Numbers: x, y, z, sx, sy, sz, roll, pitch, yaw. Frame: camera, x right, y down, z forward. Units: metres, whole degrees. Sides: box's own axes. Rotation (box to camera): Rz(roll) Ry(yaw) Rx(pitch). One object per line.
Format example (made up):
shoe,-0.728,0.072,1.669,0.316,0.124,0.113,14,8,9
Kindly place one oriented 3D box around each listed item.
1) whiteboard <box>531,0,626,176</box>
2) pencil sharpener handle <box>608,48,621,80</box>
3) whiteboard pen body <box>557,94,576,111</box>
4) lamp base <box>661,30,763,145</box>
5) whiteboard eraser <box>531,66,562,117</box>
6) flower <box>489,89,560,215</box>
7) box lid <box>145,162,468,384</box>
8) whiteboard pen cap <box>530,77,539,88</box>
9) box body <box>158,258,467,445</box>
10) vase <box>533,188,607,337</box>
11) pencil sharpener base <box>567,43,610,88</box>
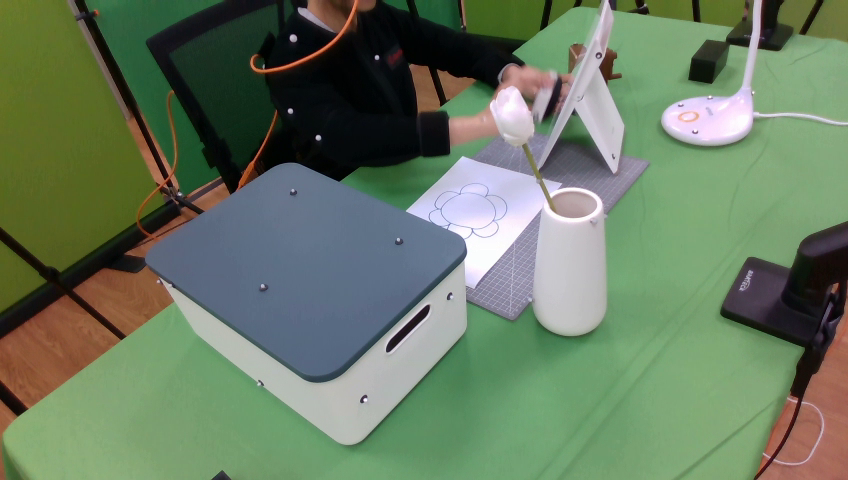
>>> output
whiteboard,0.320,-0.258,1.050,0.144,0.306,0.217,22,45,6
pencil sharpener handle,0.394,-0.367,1.253,0.030,0.068,0.036,-8,32,1
whiteboard pen body,0.278,-0.309,1.290,0.017,0.017,0.139,-25,46,-18
lamp base,0.535,-0.287,1.096,0.179,0.181,0.159,-10,40,-4
whiteboard eraser,0.219,-0.264,1.073,0.042,0.055,0.112,21,38,4
flower,0.158,-0.027,0.720,0.038,0.364,0.044,-14,44,23
box lid,-0.158,0.014,0.769,0.368,0.015,0.264,25,51,33
whiteboard pen cap,0.248,-0.344,1.328,0.018,0.018,0.033,-23,46,-16
box body,-0.147,0.072,0.816,0.361,0.161,0.255,24,50,33
vase,0.187,0.033,0.771,0.098,0.201,0.097,-6,41,6
pencil sharpener base,0.345,-0.352,1.263,0.077,0.107,0.061,-8,40,1
